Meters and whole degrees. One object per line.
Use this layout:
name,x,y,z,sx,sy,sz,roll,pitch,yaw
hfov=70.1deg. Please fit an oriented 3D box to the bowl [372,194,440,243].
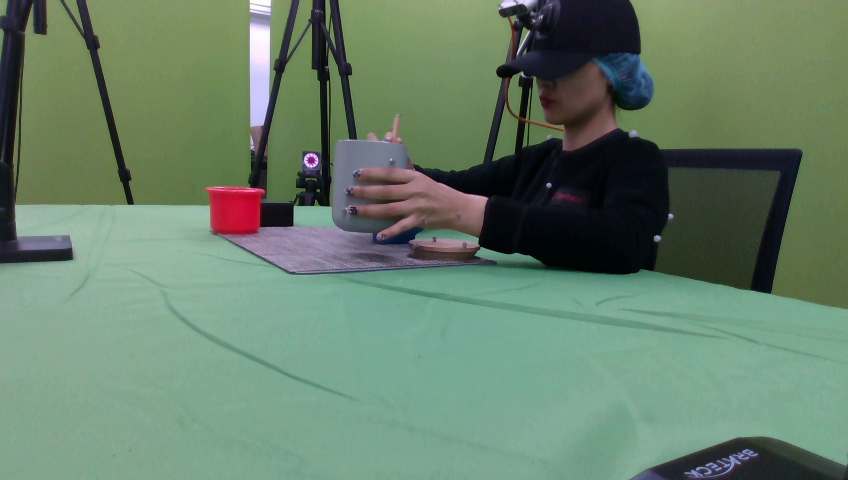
bowl,-0.050,-0.038,1.033,0.151,0.077,0.151,3,7,0

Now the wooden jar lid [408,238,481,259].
wooden jar lid,0.031,0.012,0.895,0.108,0.020,0.108,2,8,0

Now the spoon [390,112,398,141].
spoon,-0.065,-0.158,1.072,0.022,0.193,0.041,18,-37,-4

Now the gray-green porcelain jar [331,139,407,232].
gray-green porcelain jar,-0.078,-0.076,0.862,0.106,0.126,0.106,2,4,0
